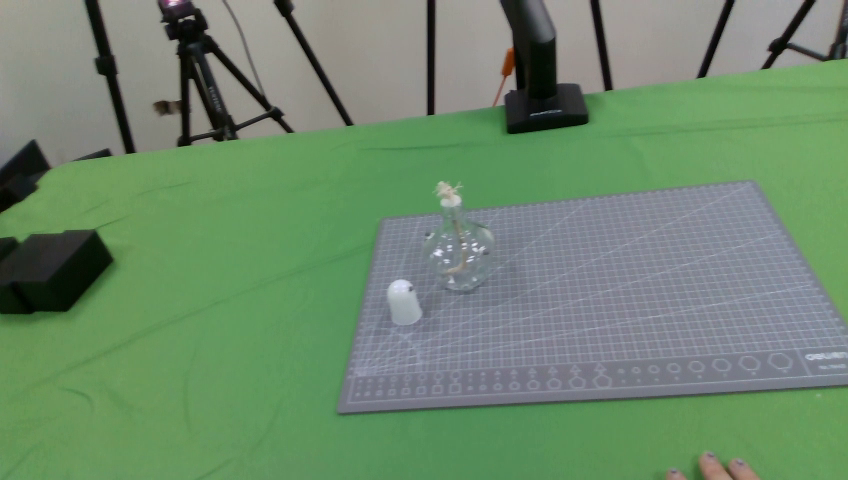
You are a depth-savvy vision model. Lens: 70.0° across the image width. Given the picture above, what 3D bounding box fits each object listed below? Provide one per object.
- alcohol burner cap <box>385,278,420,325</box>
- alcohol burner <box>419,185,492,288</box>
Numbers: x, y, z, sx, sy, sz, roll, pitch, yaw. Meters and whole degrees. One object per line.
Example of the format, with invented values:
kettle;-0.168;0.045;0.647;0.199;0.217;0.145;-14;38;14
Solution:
alcohol burner cap;-0.024;0.059;0.616;0.034;0.048;0.033;-7;38;6
alcohol burner;0.031;-0.008;0.628;0.078;0.120;0.077;-6;39;5
